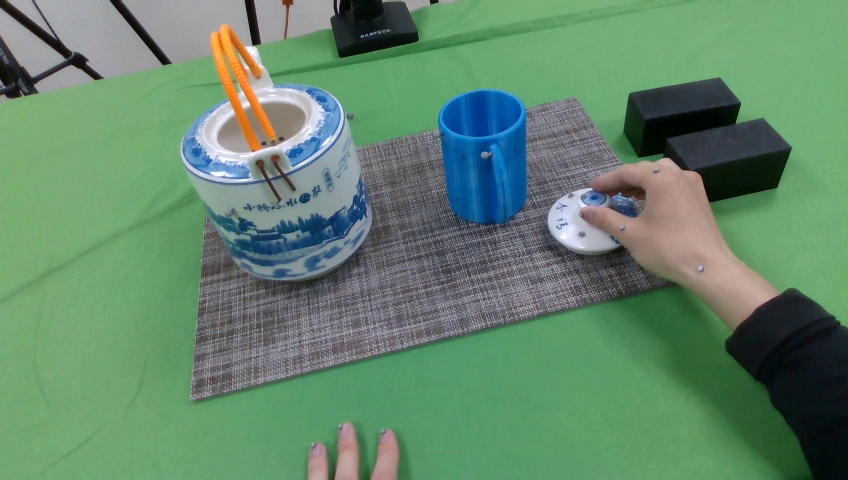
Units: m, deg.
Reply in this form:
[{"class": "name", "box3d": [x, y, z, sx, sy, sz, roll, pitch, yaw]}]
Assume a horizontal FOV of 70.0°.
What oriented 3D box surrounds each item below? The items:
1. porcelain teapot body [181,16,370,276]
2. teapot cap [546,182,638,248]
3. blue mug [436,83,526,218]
[{"class": "porcelain teapot body", "box3d": [-0.145, -0.100, 0.561, 0.145, 0.227, 0.203, -19, 47, -8]}, {"class": "teapot cap", "box3d": [0.157, -0.029, 0.567, 0.085, 0.044, 0.084, -4, 44, 4]}, {"class": "blue mug", "box3d": [0.061, -0.076, 0.585, 0.082, 0.107, 0.115, -14, 47, -3]}]
